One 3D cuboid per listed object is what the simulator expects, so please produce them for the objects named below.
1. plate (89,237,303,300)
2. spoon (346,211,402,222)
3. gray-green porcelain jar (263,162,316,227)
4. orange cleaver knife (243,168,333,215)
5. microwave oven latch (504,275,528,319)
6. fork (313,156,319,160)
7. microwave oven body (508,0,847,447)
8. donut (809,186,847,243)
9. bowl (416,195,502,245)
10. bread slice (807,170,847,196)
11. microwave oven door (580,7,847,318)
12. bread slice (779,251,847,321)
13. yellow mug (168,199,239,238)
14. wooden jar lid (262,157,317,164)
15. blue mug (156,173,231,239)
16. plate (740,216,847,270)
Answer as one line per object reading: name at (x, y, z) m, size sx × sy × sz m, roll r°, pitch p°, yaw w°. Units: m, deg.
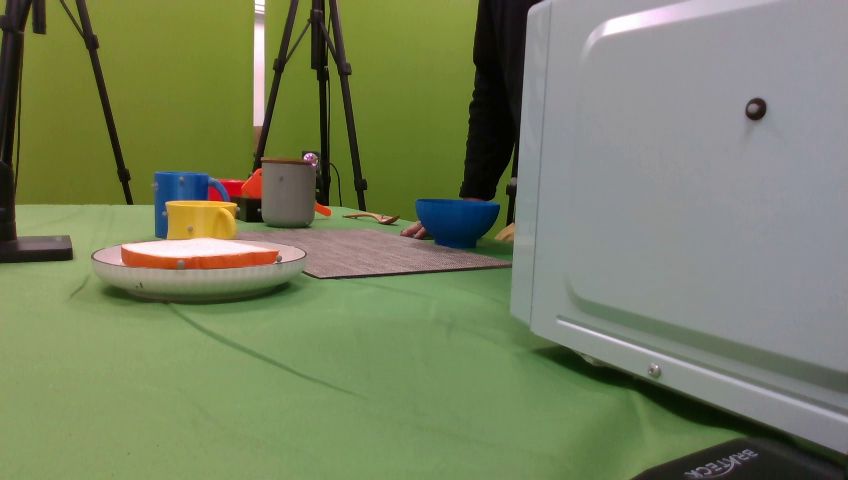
plate at (-0.233, 0.029, 0.636) m, size 0.208 × 0.039 × 0.207 m, roll 2°, pitch 7°, yaw 0°
spoon at (-0.120, -0.059, 1.400) m, size 0.042 × 0.021 × 0.192 m, roll -27°, pitch 25°, yaw -38°
gray-green porcelain jar at (-0.270, -0.092, 1.217) m, size 0.106 × 0.126 × 0.106 m, roll 2°, pitch 7°, yaw 0°
orange cleaver knife at (-0.300, -0.089, 1.351) m, size 0.212 × 0.077 × 0.012 m, roll 29°, pitch -9°, yaw -34°
microwave oven latch at (0.100, 0.042, 0.467) m, size 0.079 × 0.029 × 0.030 m, roll 0°, pitch 7°, yaw -21°
fork at (-0.330, -0.143, 1.506) m, size 0.207 × 0.018 × 0.028 m, roll -42°, pitch -19°, yaw 22°
microwave oven body at (0.332, -0.042, 0.425) m, size 0.444 × 0.260 × 0.324 m, roll -2°, pitch 8°, yaw -31°
donut at (0.351, -0.023, 0.463) m, size 0.099 × 0.048 × 0.099 m, roll -10°, pitch 5°, yaw 1°
bowl at (0.059, -0.035, 1.049) m, size 0.151 × 0.077 × 0.151 m, roll 2°, pitch 7°, yaw 0°
bread slice at (0.366, -0.051, 0.453) m, size 0.135 × 0.018 × 0.106 m, roll -9°, pitch 1°, yaw -23°
microwave oven door at (0.295, -0.066, 0.570) m, size 0.358 × 0.243 × 0.039 m, roll -3°, pitch 9°, yaw -31°
bread slice at (0.370, 0.026, 0.478) m, size 0.132 × 0.019 × 0.104 m, roll -24°, pitch 10°, yaw -7°
yellow mug at (-0.319, -0.023, 0.904) m, size 0.130 × 0.064 × 0.100 m, roll 9°, pitch 11°, yaw 36°
wooden jar lid at (-0.269, -0.154, 1.208) m, size 0.108 × 0.020 × 0.108 m, roll 3°, pitch 4°, yaw 0°
blue mug at (-0.380, -0.057, 1.004) m, size 0.117 × 0.106 × 0.082 m, roll 0°, pitch 8°, yaw -12°
plate at (0.358, 0.001, 0.464) m, size 0.209 × 0.038 × 0.209 m, roll 1°, pitch 4°, yaw 0°
